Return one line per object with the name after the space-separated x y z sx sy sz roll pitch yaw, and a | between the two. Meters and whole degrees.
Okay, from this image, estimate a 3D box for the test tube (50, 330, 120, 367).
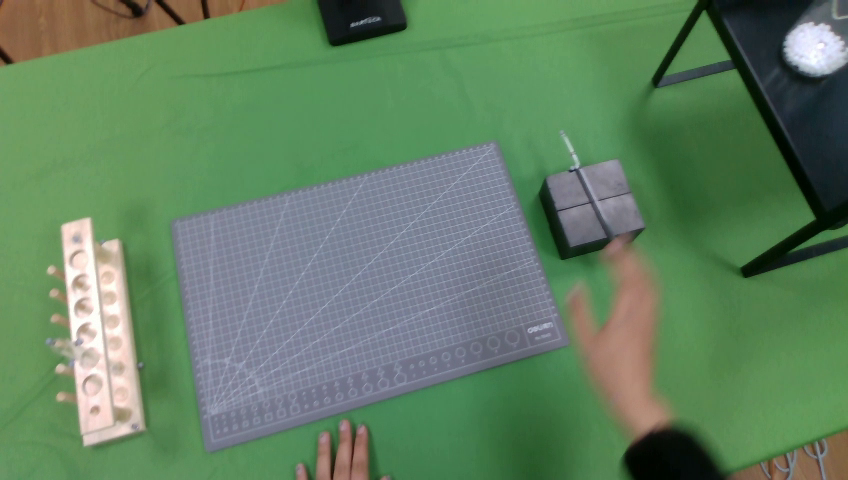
-0.357 0.118 0.646 0.017 0.151 0.017 2 70 -6 | test tube

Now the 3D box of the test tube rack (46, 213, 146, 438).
-0.390 0.099 0.704 0.067 0.085 0.240 -15 72 -6 | test tube rack

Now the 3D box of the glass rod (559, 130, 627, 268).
0.211 -0.054 0.762 0.008 0.008 0.198 -18 72 -7 | glass rod

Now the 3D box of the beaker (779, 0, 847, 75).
0.433 -0.229 0.641 0.084 0.101 0.073 -35 74 -12 | beaker
